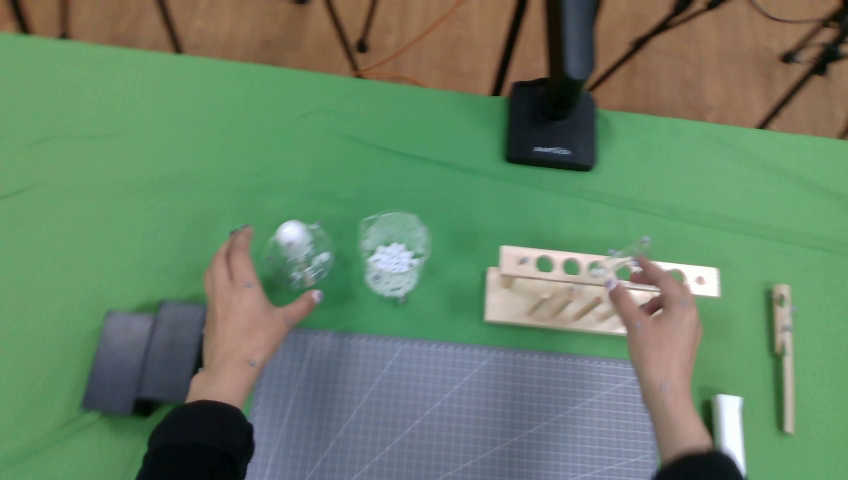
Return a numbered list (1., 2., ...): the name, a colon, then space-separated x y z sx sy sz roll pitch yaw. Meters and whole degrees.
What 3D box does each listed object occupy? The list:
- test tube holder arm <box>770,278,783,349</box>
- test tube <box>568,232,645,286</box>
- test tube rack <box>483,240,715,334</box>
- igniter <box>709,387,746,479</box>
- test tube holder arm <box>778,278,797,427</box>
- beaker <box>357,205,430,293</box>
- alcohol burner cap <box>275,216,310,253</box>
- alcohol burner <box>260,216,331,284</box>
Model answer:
1. test tube holder arm: 0.434 0.090 0.743 0.010 0.015 0.087 -5 67 30
2. test tube: 0.192 0.023 0.652 0.017 0.150 0.017 4 70 -11
3. test tube rack: 0.196 0.057 0.695 0.243 0.085 0.066 6 69 -4
4. igniter: 0.333 0.299 0.651 0.057 0.025 0.274 11 69 -12
5. test tube holder arm: 0.434 0.131 0.725 0.013 0.015 0.177 -7 66 29
6. beaker: -0.039 0.013 0.679 0.084 0.101 0.074 33 69 8
7. alcohol burner cap: -0.138 -0.008 0.630 0.034 0.048 0.033 1 75 -2
8. alcohol burner: -0.142 0.005 0.663 0.078 0.120 0.077 2 67 -5
